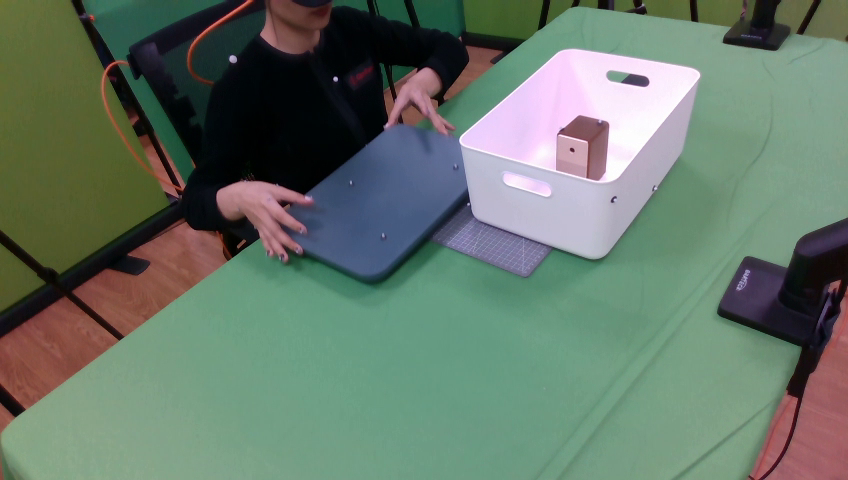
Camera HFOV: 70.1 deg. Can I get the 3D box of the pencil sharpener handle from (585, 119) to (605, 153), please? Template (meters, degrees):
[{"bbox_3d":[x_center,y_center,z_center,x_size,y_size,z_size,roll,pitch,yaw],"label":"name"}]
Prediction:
[{"bbox_3d":[0.301,-0.184,1.044,0.035,0.068,0.031,20,48,35],"label":"pencil sharpener handle"}]

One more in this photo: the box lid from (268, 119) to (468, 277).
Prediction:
[{"bbox_3d":[-0.065,-0.093,1.055,0.261,0.015,0.372,21,52,33],"label":"box lid"}]

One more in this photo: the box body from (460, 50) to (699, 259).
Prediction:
[{"bbox_3d":[0.261,-0.153,1.001,0.252,0.161,0.365,21,48,31],"label":"box body"}]

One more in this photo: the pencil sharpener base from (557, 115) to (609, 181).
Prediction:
[{"bbox_3d":[0.270,-0.147,1.024,0.061,0.107,0.077,22,49,33],"label":"pencil sharpener base"}]
